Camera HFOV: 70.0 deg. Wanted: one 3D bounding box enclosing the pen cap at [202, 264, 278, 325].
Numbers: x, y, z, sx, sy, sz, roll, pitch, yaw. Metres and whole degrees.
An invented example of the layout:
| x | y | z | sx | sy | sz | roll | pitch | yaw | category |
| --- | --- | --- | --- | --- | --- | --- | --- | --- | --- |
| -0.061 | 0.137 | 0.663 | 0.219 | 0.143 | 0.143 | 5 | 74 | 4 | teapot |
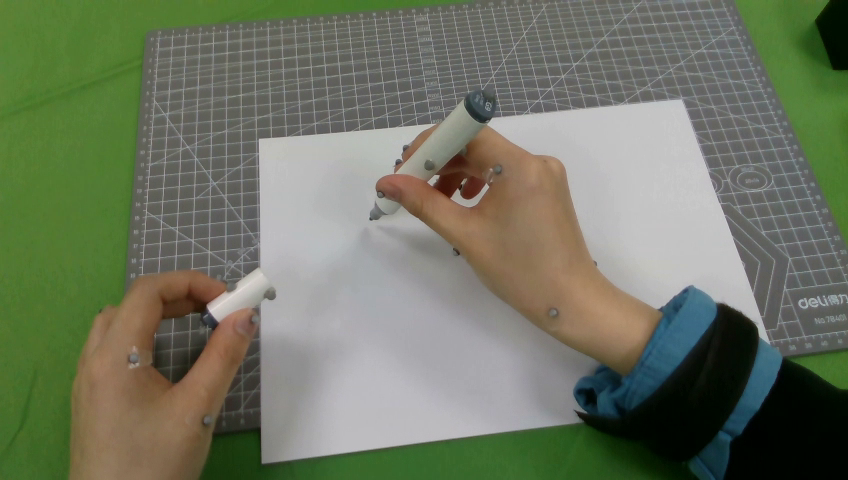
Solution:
| x | y | z | sx | sy | sz | roll | pitch | yaw | category |
| --- | --- | --- | --- | --- | --- | --- | --- | --- | --- |
| -0.095 | 0.029 | 0.312 | 0.038 | 0.017 | 0.017 | -33 | 68 | 2 | pen cap |

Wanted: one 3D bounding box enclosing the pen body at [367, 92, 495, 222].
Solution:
| x | y | z | sx | sy | sz | roll | pitch | yaw | category |
| --- | --- | --- | --- | --- | --- | --- | --- | --- | --- |
| -0.004 | -0.035 | 0.320 | 0.017 | 0.144 | 0.017 | 9 | 68 | -23 | pen body |
